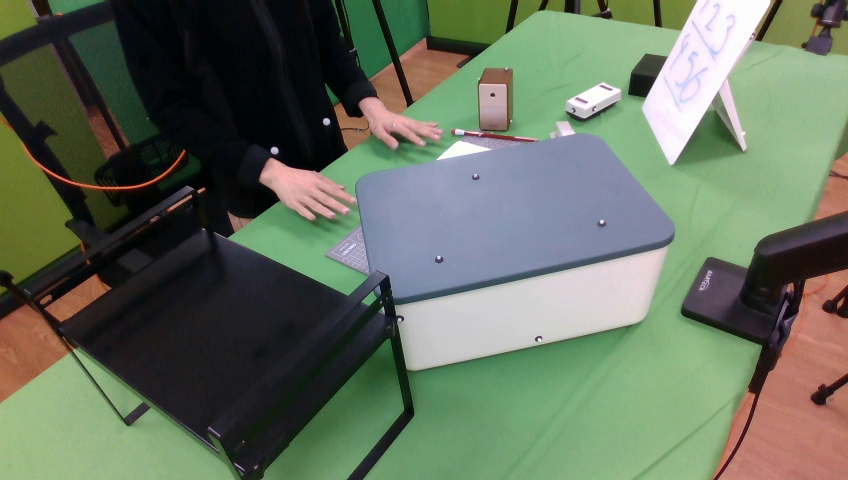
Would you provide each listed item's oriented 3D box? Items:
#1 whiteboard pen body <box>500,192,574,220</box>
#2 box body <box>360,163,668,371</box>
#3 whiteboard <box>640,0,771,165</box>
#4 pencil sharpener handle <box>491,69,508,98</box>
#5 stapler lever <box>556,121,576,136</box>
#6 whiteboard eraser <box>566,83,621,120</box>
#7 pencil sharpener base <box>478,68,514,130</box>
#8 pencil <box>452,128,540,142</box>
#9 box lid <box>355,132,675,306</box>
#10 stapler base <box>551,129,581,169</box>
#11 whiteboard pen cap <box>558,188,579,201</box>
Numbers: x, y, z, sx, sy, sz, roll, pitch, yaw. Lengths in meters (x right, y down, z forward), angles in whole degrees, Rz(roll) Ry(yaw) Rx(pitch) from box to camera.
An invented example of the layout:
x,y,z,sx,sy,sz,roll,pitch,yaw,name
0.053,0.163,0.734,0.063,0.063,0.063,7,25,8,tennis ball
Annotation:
x,y,z,sx,sy,sz,roll,pitch,yaw,name
0.191,-0.059,1.011,0.141,0.017,0.017,-18,41,-16,whiteboard pen body
0.108,0.014,0.833,0.365,0.161,0.252,-11,41,-5,box body
0.543,-0.299,1.076,0.144,0.305,0.216,12,40,-7,whiteboard
0.155,-0.329,1.254,0.036,0.068,0.030,17,43,4,pencil sharpener handle
0.266,-0.198,1.128,0.027,0.040,0.117,0,38,3,stapler lever
0.348,-0.283,1.241,0.113,0.042,0.055,-30,43,-24,whiteboard eraser
0.148,-0.286,1.224,0.061,0.107,0.076,5,41,15,pencil sharpener base
0.146,-0.207,1.205,0.193,0.012,0.012,10,43,19,pencil
0.103,-0.042,0.785,0.372,0.015,0.261,-12,41,-5,box lid
0.268,-0.178,1.142,0.041,0.024,0.130,0,37,3,stapler base
0.245,-0.077,1.028,0.033,0.018,0.018,-18,42,-15,whiteboard pen cap
